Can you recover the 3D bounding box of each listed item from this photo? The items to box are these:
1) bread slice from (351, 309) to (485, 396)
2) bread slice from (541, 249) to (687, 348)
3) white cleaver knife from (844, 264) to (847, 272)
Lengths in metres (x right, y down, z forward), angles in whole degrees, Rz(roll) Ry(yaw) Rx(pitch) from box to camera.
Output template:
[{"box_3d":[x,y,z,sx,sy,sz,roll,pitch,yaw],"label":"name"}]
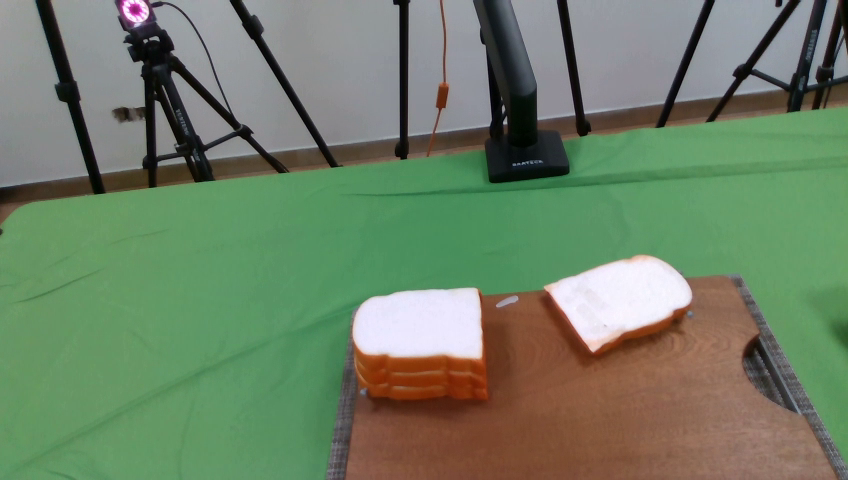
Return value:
[{"box_3d":[-0.006,0.111,0.615,0.134,0.018,0.106,0,37,5],"label":"bread slice"},{"box_3d":[0.204,0.056,0.633,0.131,0.019,0.103,-20,37,-6],"label":"bread slice"},{"box_3d":[0.467,0.103,0.500,0.066,0.022,0.283,-12,41,-2],"label":"white cleaver knife"}]
